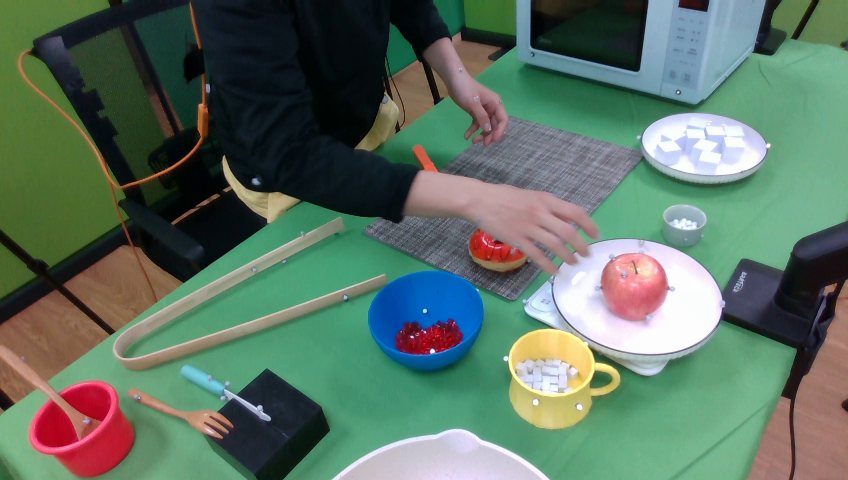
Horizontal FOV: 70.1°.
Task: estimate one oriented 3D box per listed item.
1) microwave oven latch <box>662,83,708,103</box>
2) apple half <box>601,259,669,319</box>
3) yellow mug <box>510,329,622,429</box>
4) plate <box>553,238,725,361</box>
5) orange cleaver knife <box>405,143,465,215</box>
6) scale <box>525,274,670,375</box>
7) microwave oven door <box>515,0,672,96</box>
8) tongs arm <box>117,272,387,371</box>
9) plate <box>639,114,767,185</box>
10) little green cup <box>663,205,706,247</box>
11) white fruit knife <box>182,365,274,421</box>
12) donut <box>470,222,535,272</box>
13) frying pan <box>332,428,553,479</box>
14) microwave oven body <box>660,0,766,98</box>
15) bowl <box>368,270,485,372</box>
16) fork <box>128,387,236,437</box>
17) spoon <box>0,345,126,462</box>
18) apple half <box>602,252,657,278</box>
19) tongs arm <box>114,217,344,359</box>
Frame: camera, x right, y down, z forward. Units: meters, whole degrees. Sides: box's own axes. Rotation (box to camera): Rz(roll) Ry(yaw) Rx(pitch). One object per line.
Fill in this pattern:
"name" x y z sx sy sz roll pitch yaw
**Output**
"microwave oven latch" 0.518 -0.296 1.204 0.078 0.029 0.030 28 52 35
"apple half" 0.268 0.068 0.756 0.081 0.075 0.053 -6 43 -2
"yellow mug" 0.168 0.164 0.721 0.130 0.064 0.099 0 40 8
"plate" 0.273 0.078 0.783 0.209 0.038 0.208 -4 41 4
"orange cleaver knife" 0.005 -0.113 1.102 0.077 0.012 0.209 -24 45 -10
"scale" 0.254 0.092 0.821 0.199 0.032 0.149 28 51 35
"microwave oven door" 0.343 -0.455 1.259 0.353 0.245 0.039 26 51 33
"tongs arm" -0.236 0.114 0.870 0.389 0.028 0.028 -18 49 -12
"plate" 0.489 -0.157 1.074 0.207 0.039 0.206 -4 40 4
"little green cup" 0.396 -0.020 0.926 0.061 0.039 0.061 -4 40 4
"white fruit knife" -0.245 0.187 0.747 0.205 0.027 0.016 9 41 41
"donut" 0.119 0.009 0.923 0.099 0.048 0.098 -4 38 4
"frying pan" -0.089 0.306 0.564 0.487 0.103 0.306 10 41 7
"microwave oven body" 0.472 -0.513 1.317 0.438 0.261 0.327 26 51 34
"bowl" 0.007 0.119 0.791 0.151 0.077 0.150 -5 39 4
"fork" -0.305 0.207 0.744 0.206 0.019 0.028 3 40 36
"spoon" -0.434 0.191 0.720 0.194 0.021 0.042 47 53 -6
"apple half" 0.263 0.042 0.784 0.081 0.081 0.032 -8 43 -1
"tongs arm" -0.280 0.067 0.927 0.386 0.026 0.050 -29 49 -23
